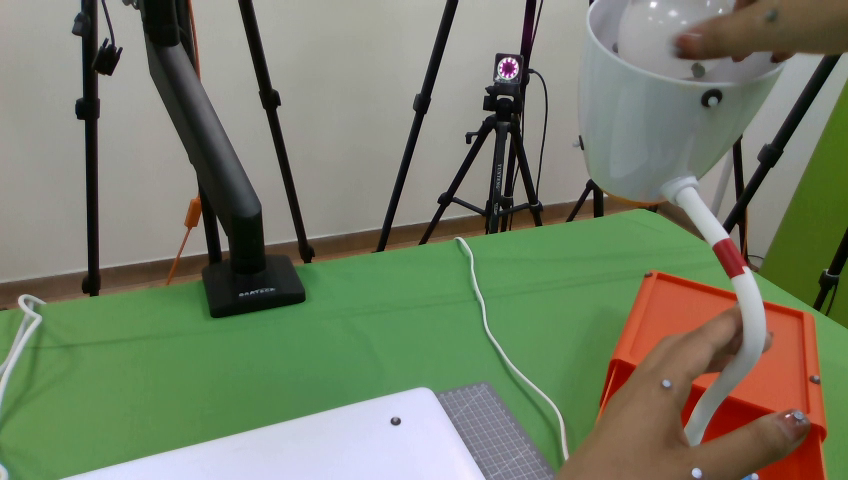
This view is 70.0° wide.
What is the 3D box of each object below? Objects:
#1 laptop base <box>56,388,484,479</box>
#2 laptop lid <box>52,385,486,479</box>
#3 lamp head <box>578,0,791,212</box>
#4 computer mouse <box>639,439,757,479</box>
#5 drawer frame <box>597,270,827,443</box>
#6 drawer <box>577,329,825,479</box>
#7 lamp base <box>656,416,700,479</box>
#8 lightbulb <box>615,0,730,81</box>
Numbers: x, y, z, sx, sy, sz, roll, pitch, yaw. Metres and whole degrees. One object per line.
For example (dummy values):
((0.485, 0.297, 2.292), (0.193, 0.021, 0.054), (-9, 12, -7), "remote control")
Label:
((-0.112, 0.242, 0.493), (0.356, 0.023, 0.233), (-9, 34, -23), "laptop base")
((-0.111, 0.233, 0.485), (0.358, 0.013, 0.239), (-8, 33, -21), "laptop lid")
((0.148, -0.078, 0.378), (0.112, 0.124, 0.111), (-1, 44, 1), "lamp head")
((0.251, 0.221, 0.549), (0.117, 0.041, 0.062), (15, 30, 13), "computer mouse")
((0.322, 0.135, 0.682), (0.200, 0.083, 0.213), (16, 30, 22), "drawer frame")
((0.272, 0.182, 0.594), (0.193, 0.074, 0.211), (15, 30, 21), "drawer")
((0.166, 0.220, 0.396), (0.161, 0.181, 0.177), (1, 26, -8), "lamp base")
((0.139, -0.102, 0.359), (0.059, 0.108, 0.059), (0, 53, 0), "lightbulb")
